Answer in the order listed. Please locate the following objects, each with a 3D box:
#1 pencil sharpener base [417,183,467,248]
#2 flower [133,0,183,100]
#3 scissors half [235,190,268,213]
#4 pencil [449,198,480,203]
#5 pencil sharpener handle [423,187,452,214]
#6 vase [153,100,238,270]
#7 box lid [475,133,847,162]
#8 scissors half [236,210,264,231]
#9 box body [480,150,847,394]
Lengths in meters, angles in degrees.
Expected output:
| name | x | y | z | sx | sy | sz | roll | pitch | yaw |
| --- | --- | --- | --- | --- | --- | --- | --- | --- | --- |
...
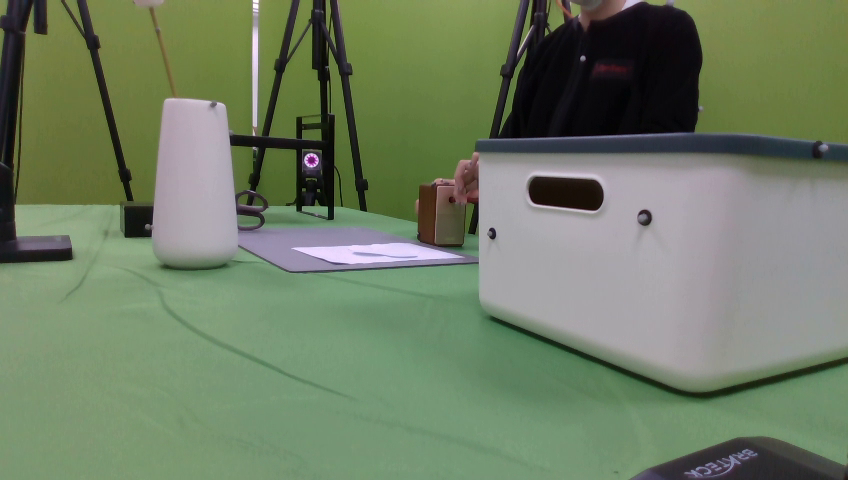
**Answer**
| name | x | y | z | sx | sy | sz | roll | pitch | yaw |
| --- | --- | --- | --- | --- | --- | --- | --- | --- | --- |
| pencil sharpener base | 0.029 | -0.045 | 1.047 | 0.061 | 0.107 | 0.076 | -1 | 8 | -25 |
| flower | -0.282 | -0.147 | 0.713 | 0.038 | 0.362 | 0.044 | -23 | 24 | -31 |
| scissors half | -0.363 | -0.070 | 1.060 | 0.176 | 0.040 | 0.013 | 0 | 16 | -23 |
| pencil | 0.080 | -0.062 | 0.950 | 0.012 | 0.012 | 0.193 | -2 | 5 | -28 |
| pencil sharpener handle | 0.020 | -0.070 | 1.096 | 0.068 | 0.036 | 0.030 | 38 | -9 | -25 |
| vase | -0.278 | -0.066 | 0.736 | 0.098 | 0.200 | 0.098 | 2 | 9 | 0 |
| box lid | 0.255 | -0.073 | 0.528 | 0.373 | 0.015 | 0.262 | -2 | 8 | -31 |
| scissors half | -0.369 | -0.051 | 1.064 | 0.176 | 0.040 | 0.012 | 19 | 13 | -27 |
| box body | 0.254 | 0.002 | 0.539 | 0.366 | 0.160 | 0.253 | -2 | 8 | -31 |
